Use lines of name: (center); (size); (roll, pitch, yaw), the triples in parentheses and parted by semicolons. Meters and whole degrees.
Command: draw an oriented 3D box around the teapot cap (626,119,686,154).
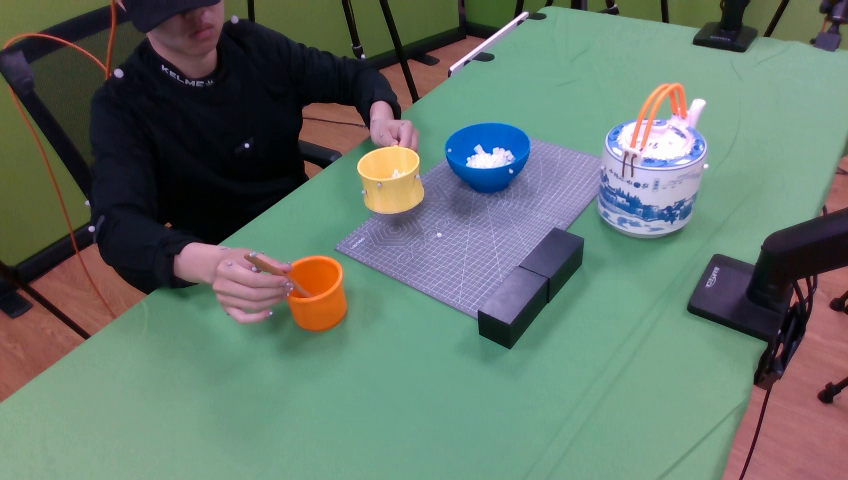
teapot cap: (0.338, -0.153, 0.882); (0.085, 0.044, 0.085); (-3, 38, 3)

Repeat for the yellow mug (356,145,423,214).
yellow mug: (-0.052, -0.106, 0.972); (0.100, 0.064, 0.130); (0, 38, 8)

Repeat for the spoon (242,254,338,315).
spoon: (-0.174, 0.061, 0.793); (0.041, 0.195, 0.021); (-4, 59, 26)

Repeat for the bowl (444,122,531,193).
bowl: (0.113, -0.136, 1.063); (0.151, 0.077, 0.150); (-4, 41, 4)

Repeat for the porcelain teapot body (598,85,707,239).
porcelain teapot body: (0.363, -0.137, 0.921); (0.144, 0.226, 0.206); (28, 51, 36)
